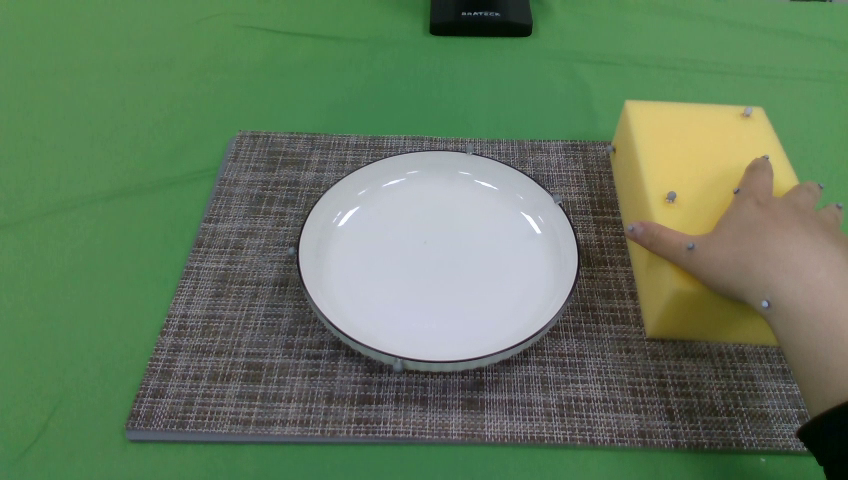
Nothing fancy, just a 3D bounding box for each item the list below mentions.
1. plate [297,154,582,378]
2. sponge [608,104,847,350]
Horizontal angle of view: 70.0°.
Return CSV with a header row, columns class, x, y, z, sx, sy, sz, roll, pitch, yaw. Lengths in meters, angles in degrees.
class,x,y,z,sx,sy,sz,roll,pitch,yaw
plate,0.011,0.016,0.456,0.208,0.039,0.205,1,48,0
sponge,0.223,-0.019,0.475,0.118,0.061,0.205,3,48,1
